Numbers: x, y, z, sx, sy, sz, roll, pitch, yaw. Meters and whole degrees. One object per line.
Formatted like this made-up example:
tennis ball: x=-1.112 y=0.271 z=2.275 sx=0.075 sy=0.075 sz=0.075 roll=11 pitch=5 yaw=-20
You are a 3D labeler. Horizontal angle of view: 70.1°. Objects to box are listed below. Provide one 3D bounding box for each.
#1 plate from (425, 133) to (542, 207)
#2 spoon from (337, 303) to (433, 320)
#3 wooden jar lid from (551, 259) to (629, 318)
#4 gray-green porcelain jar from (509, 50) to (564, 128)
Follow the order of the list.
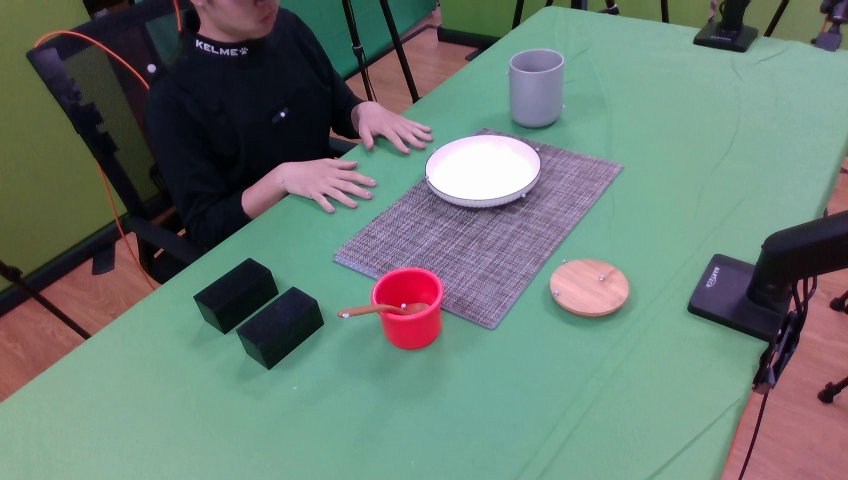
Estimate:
plate: x=0.106 y=-0.122 z=1.079 sx=0.207 sy=0.039 sz=0.206 roll=-4 pitch=41 yaw=4
spoon: x=-0.048 y=0.091 z=0.777 sx=0.041 sy=0.021 sz=0.195 roll=23 pitch=5 yaw=32
wooden jar lid: x=0.234 y=0.070 z=0.857 sx=0.108 sy=0.021 sz=0.108 roll=-5 pitch=40 yaw=5
gray-green porcelain jar: x=0.222 y=-0.297 z=1.204 sx=0.106 sy=0.127 sz=0.105 roll=-4 pitch=41 yaw=4
